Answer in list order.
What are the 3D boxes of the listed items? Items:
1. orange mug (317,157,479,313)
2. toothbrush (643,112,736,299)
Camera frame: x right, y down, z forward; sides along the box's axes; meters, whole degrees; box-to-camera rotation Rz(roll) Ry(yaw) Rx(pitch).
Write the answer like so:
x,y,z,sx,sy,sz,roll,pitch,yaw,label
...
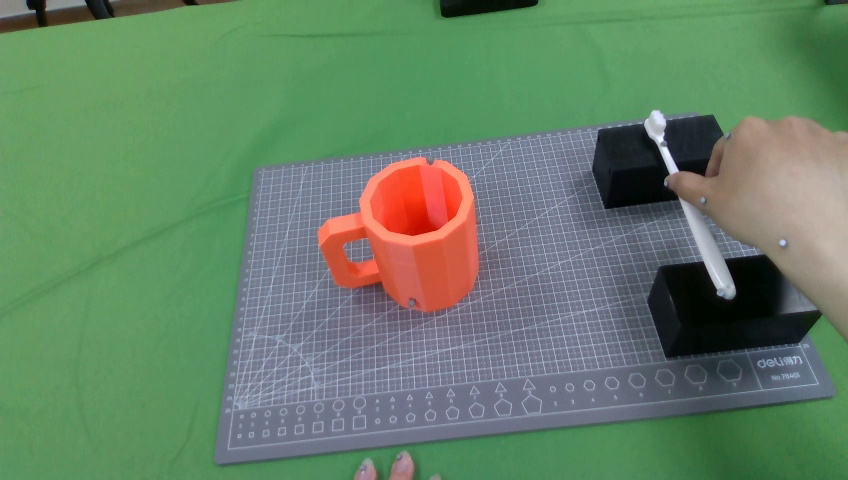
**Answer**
x,y,z,sx,sy,sz,roll,pitch,yaw,label
-0.018,0.001,0.485,0.126,0.102,0.082,-11,53,-6,orange mug
0.204,-0.034,0.470,0.014,0.017,0.180,-1,54,-8,toothbrush
